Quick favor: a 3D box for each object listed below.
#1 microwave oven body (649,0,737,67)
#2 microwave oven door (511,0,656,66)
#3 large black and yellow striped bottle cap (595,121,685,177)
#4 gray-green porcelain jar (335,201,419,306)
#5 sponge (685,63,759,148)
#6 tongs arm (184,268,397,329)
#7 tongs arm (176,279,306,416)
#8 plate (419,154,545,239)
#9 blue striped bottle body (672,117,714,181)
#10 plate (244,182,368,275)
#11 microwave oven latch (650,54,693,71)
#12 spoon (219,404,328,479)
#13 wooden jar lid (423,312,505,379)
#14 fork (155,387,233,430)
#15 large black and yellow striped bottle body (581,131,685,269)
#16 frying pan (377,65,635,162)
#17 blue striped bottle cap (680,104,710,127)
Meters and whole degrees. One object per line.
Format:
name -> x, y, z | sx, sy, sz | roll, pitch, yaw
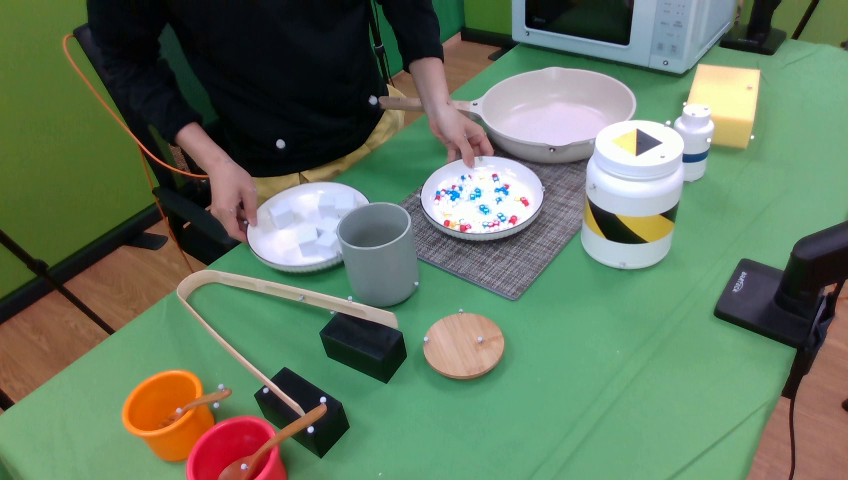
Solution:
microwave oven body -> 0.475, -0.602, 1.411 | 0.438, 0.261, 0.327 | 23, 50, 32
microwave oven door -> 0.350, -0.539, 1.348 | 0.353, 0.245, 0.039 | 24, 50, 31
large black and yellow striped bottle cap -> 0.292, -0.126, 0.821 | 0.115, 0.019, 0.114 | -5, 40, 4
gray-green porcelain jar -> -0.064, 0.024, 0.872 | 0.106, 0.127, 0.105 | -4, 41, 4
sponge -> 0.569, -0.263, 1.164 | 0.117, 0.061, 0.207 | 12, 45, 22
tongs arm -> -0.202, 0.084, 0.848 | 0.382, 0.027, 0.051 | 11, 44, 35
tongs arm -> -0.255, 0.132, 0.801 | 0.028, 0.028, 0.384 | -41, 40, -23
plate -> 0.097, -0.069, 1.013 | 0.209, 0.038, 0.208 | -3, 43, 3
blue striped bottle body -> 0.449, -0.165, 1.022 | 0.063, 0.121, 0.063 | -5, 41, 4
plate -> -0.186, -0.017, 0.995 | 0.207, 0.039, 0.206 | -3, 45, 3
microwave oven latch -> 0.531, -0.386, 1.301 | 0.078, 0.029, 0.030 | 26, 51, 33
spoon -> -0.164, 0.222, 0.643 | 0.193, 0.022, 0.041 | -43, 26, 29
wooden jar lid -> 0.053, 0.142, 0.800 | 0.108, 0.021, 0.108 | -5, 39, 4
fork -> -0.264, 0.191, 0.688 | 0.206, 0.018, 0.028 | -33, 8, 44
large black and yellow striped bottle body -> 0.301, -0.063, 0.878 | 0.131, 0.185, 0.130 | -4, 41, 4
frying pan -> 0.150, -0.255, 1.177 | 0.488, 0.103, 0.306 | 7, 41, 4
blue striped bottle cap -> 0.443, -0.205, 0.989 | 0.044, 0.021, 0.044 | -1, 41, 2
